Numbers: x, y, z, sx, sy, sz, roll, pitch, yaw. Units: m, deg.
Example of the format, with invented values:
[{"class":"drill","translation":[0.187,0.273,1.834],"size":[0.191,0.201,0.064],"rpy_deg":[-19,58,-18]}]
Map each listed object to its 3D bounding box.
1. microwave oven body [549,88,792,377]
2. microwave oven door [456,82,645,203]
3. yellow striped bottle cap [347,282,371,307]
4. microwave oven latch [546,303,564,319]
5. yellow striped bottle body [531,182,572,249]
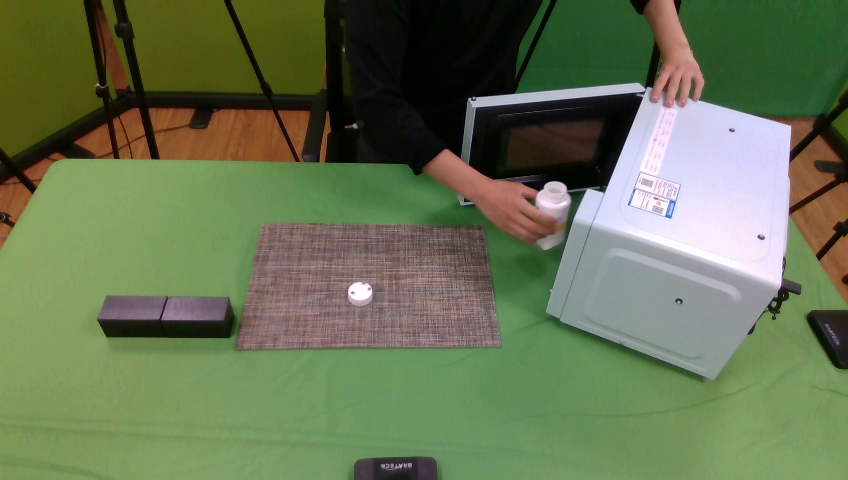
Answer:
[{"class":"microwave oven body","translation":[0.456,-0.028,1.088],"size":[0.325,0.261,0.440],"rpy_deg":[20,47,16]},{"class":"microwave oven door","translation":[0.249,-0.195,1.226],"size":[0.356,0.245,0.039],"rpy_deg":[-8,48,-11]},{"class":"yellow striped bottle cap","translation":[-0.117,0.098,1.093],"size":[0.044,0.019,0.044],"rpy_deg":[3,45,-3]},{"class":"microwave oven latch","translation":[0.242,0.102,1.081],"size":[0.030,0.029,0.079],"rpy_deg":[21,48,17]},{"class":"yellow striped bottle body","translation":[0.237,-0.048,1.124],"size":[0.063,0.121,0.062],"rpy_deg":[1,39,-1]}]
